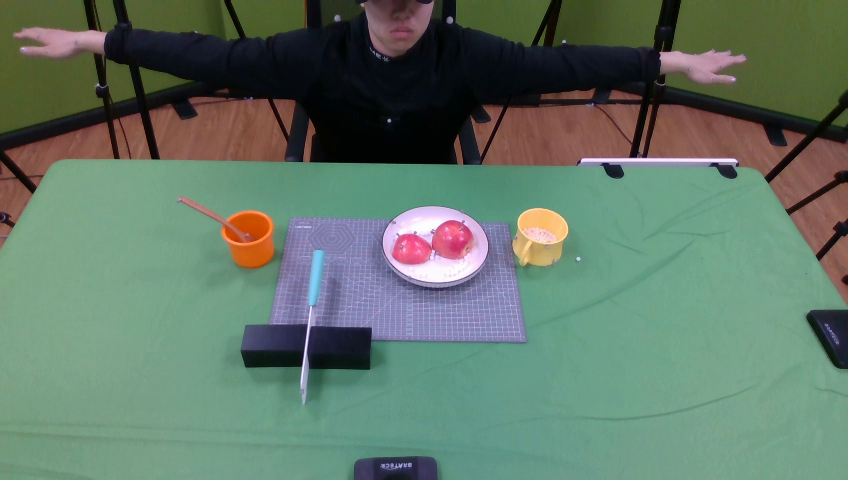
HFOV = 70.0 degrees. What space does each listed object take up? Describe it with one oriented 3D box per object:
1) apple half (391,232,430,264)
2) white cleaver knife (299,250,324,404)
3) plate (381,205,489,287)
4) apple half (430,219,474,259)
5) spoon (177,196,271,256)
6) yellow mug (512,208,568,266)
[{"bbox_3d":[-0.024,0.009,1.163,0.081,0.033,0.081,2,43,-2],"label":"apple half"},{"bbox_3d":[-0.194,0.134,1.019,0.021,0.066,0.284,5,50,-5],"label":"white cleaver knife"},{"bbox_3d":[0.021,0.015,1.170,0.209,0.038,0.208,2,46,-2],"label":"plate"},{"bbox_3d":[0.056,-0.007,1.172,0.081,0.053,0.074,-33,59,-31],"label":"apple half"},{"bbox_3d":[-0.362,-0.027,1.109,0.021,0.195,0.041,-32,35,28],"label":"spoon"},{"bbox_3d":[0.219,0.002,1.183,0.099,0.064,0.130,27,51,21],"label":"yellow mug"}]
